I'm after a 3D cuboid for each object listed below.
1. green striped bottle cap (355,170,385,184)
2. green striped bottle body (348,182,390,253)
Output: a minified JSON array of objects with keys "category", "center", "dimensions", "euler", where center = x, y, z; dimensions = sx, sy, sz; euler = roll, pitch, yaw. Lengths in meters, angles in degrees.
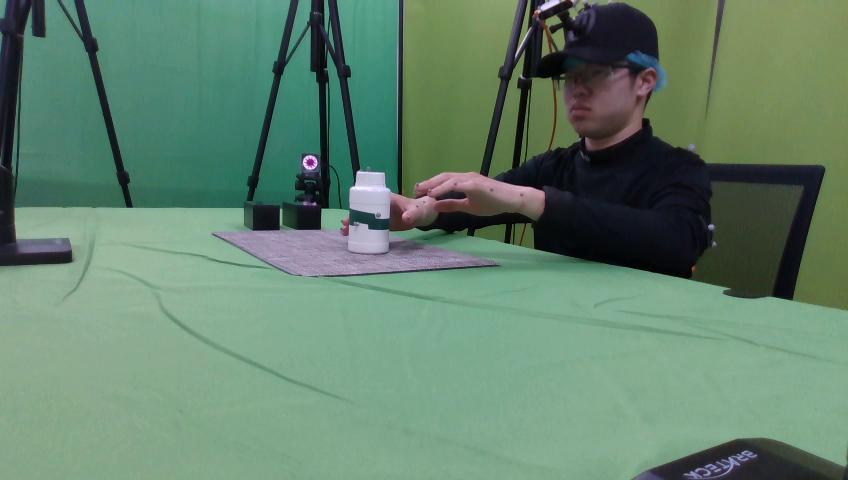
[{"category":"green striped bottle cap","center":[-0.081,-0.094,0.907],"dimensions":[0.044,0.020,0.044],"euler":[4,9,0]},{"category":"green striped bottle body","center":[-0.083,-0.043,0.913],"dimensions":[0.063,0.119,0.063],"euler":[1,8,0]}]
